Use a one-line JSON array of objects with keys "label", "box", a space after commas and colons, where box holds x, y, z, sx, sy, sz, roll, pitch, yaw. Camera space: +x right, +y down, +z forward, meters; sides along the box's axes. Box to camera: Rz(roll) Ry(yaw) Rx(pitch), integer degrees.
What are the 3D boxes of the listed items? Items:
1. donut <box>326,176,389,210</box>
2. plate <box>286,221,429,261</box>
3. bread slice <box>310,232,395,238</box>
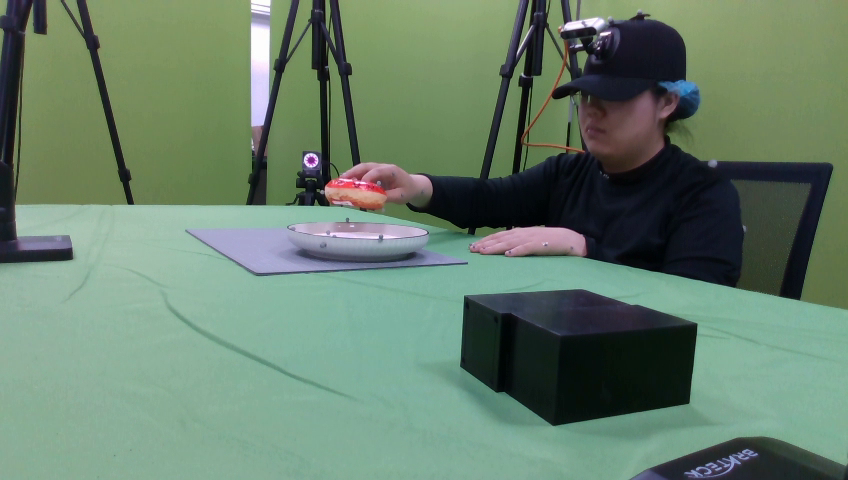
[{"label": "donut", "box": [-0.104, -0.072, 0.946, 0.099, 0.048, 0.099, 9, 1, 0]}, {"label": "plate", "box": [-0.096, 0.001, 0.886, 0.209, 0.038, 0.209, 2, 7, 0]}, {"label": "bread slice", "box": [-0.101, 0.003, 0.885, 0.135, 0.018, 0.106, -2, 8, -38]}]
